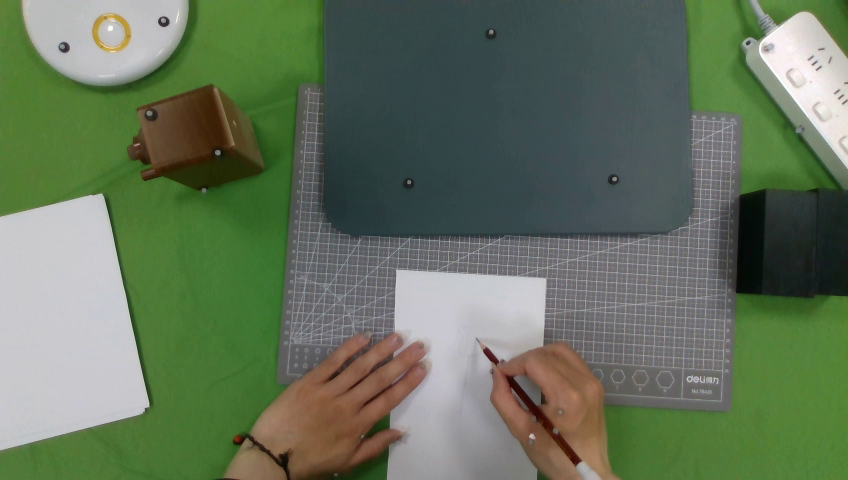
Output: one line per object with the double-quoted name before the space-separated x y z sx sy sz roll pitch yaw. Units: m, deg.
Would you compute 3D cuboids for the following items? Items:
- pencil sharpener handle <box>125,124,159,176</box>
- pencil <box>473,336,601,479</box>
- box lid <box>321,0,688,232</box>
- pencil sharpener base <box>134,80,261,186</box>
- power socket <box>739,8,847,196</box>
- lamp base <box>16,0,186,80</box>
"pencil sharpener handle" -0.251 -0.075 0.538 0.030 0.068 0.036 -17 75 -2
"pencil" 0.090 0.141 0.525 0.012 0.192 0.012 -15 125 -22
"box lid" 0.083 -0.139 0.609 0.372 0.015 0.263 -1 87 -1
"pencil sharpener base" -0.203 -0.093 0.552 0.077 0.107 0.061 -17 88 -2
"power socket" 0.411 -0.131 0.608 0.072 0.032 0.226 -37 88 -3
"lamp base" -0.321 -0.251 0.520 0.160 0.180 0.179 -28 85 -3
